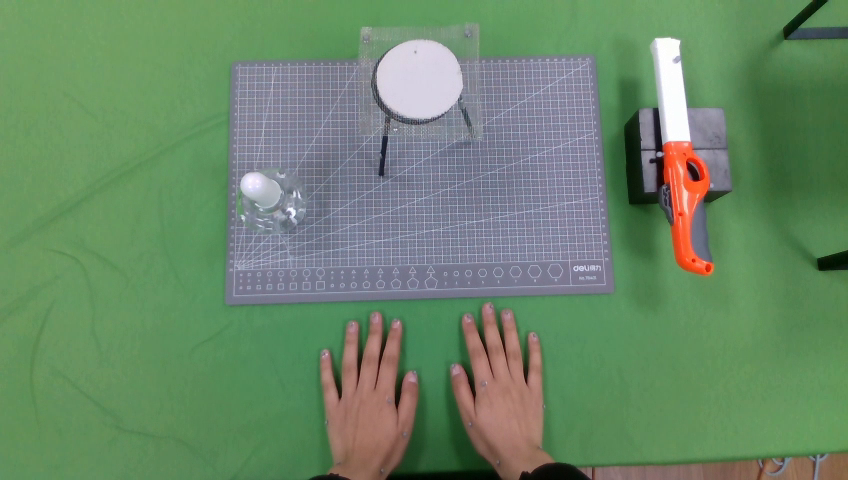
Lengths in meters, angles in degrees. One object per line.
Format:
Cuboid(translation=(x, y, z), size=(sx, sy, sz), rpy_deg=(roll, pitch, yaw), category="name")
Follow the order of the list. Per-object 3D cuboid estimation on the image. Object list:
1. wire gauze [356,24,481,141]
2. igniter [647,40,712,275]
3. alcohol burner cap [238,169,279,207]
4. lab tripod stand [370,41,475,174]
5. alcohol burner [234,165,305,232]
Cuboid(translation=(-0.005, -0.159, 0.604), size=(0.125, 0.011, 0.121), rpy_deg=(1, 79, -1), category="wire gauze")
Cuboid(translation=(0.284, -0.096, 0.679), size=(0.057, 0.025, 0.275), rpy_deg=(-1, 77, -4), category="igniter")
Cuboid(translation=(-0.173, -0.055, 0.623), size=(0.034, 0.048, 0.033), rpy_deg=(-1, 78, 7), category="alcohol burner cap")
Cuboid(translation=(-0.013, -0.150, 0.671), size=(0.148, 0.132, 0.147), rpy_deg=(0, 79, 0), category="lab tripod stand")
Cuboid(translation=(-0.172, -0.049, 0.658), size=(0.078, 0.119, 0.077), rpy_deg=(0, 81, 0), category="alcohol burner")
